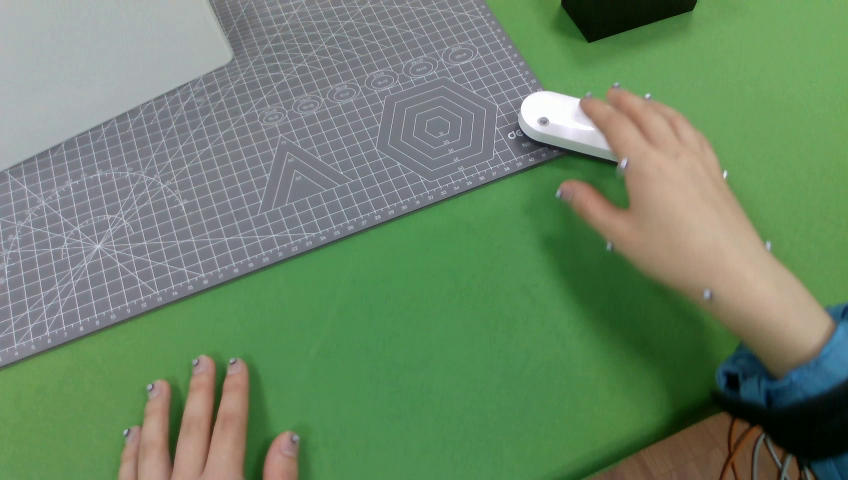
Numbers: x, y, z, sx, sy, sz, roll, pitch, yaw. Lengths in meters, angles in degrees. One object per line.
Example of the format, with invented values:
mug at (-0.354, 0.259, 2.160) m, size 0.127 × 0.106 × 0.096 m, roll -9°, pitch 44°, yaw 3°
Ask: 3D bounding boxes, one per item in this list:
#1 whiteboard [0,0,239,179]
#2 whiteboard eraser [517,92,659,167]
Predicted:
whiteboard at (-0.302, -0.227, 0.396) m, size 0.217 × 0.309 × 0.142 m, roll -31°, pitch 46°, yaw -14°
whiteboard eraser at (0.119, -0.081, 0.441) m, size 0.101 × 0.019 × 0.041 m, roll 16°, pitch 62°, yaw 6°
